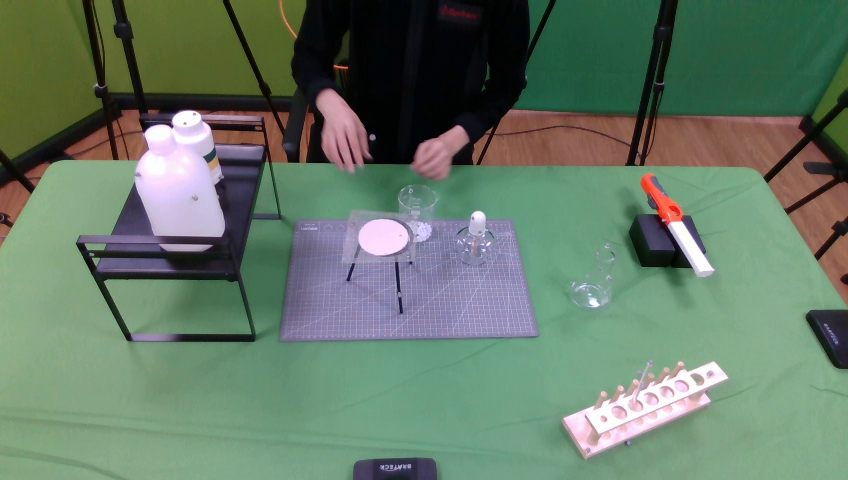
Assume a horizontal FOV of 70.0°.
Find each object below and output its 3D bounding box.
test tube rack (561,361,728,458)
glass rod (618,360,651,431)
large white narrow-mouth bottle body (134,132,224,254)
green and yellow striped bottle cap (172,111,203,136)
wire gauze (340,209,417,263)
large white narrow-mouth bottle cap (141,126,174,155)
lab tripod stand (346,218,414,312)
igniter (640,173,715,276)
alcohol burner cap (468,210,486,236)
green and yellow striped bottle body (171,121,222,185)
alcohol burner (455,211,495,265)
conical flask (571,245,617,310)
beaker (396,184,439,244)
[{"bbox_3d":[0.341,0.248,0.940,0.243,0.085,0.066,-15,48,-18],"label":"test tube rack"},{"bbox_3d":[0.298,0.227,0.865,0.008,0.201,0.008,-1,48,2],"label":"glass rod"},{"bbox_3d":[-0.358,-0.075,0.875,0.102,0.195,0.101,1,48,-1],"label":"large white narrow-mouth bottle body"},{"bbox_3d":[-0.374,-0.185,0.958,0.045,0.020,0.045,4,46,-4],"label":"green and yellow striped bottle cap"},{"bbox_3d":[-0.074,-0.006,1.023,0.121,0.011,0.124,3,46,0],"label":"wire gauze"},{"bbox_3d":[-0.356,-0.133,0.811,0.038,0.024,0.037,2,48,-2],"label":"large white narrow-mouth bottle cap"},{"bbox_3d":[-0.070,0.037,1.075,0.148,0.132,0.147,1,47,-1],"label":"lab tripod stand"},{"bbox_3d":[0.495,-0.039,1.204,0.057,0.025,0.274,-2,47,-13],"label":"igniter"},{"bbox_3d":[0.100,-0.034,1.119,0.034,0.048,0.033,0,53,0],"label":"alcohol burner cap"},{"bbox_3d":[-0.375,-0.149,0.995,0.063,0.120,0.063,2,46,-2],"label":"green and yellow striped bottle body"},{"bbox_3d":[0.097,-0.010,1.147,0.078,0.120,0.077,1,47,-1],"label":"alcohol burner"},{"bbox_3d":[0.313,0.064,1.089,0.075,0.122,0.075,2,46,-2],"label":"conical flask"},{"bbox_3d":[-0.014,-0.049,1.186,0.084,0.101,0.073,-8,48,-13],"label":"beaker"}]
